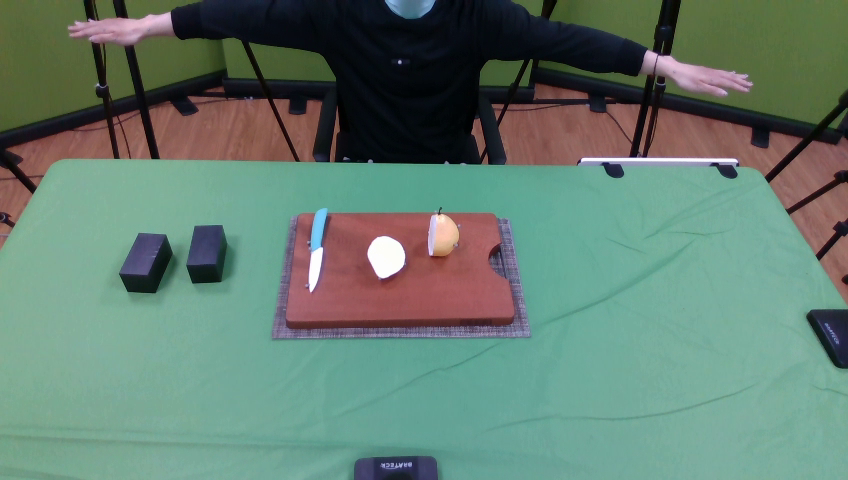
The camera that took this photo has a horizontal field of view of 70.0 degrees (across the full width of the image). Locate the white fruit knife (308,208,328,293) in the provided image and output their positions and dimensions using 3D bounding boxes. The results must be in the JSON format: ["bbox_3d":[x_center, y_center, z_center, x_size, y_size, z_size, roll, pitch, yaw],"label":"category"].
[{"bbox_3d":[-0.201,0.016,1.128,0.027,0.016,0.206,-9,46,8],"label":"white fruit knife"}]

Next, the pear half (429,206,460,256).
[{"bbox_3d":[0.039,-0.021,1.117,0.056,0.110,0.076,-5,50,-9],"label":"pear half"}]

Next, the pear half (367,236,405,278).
[{"bbox_3d":[-0.073,0.036,1.106,0.070,0.031,0.087,18,59,-7],"label":"pear half"}]
